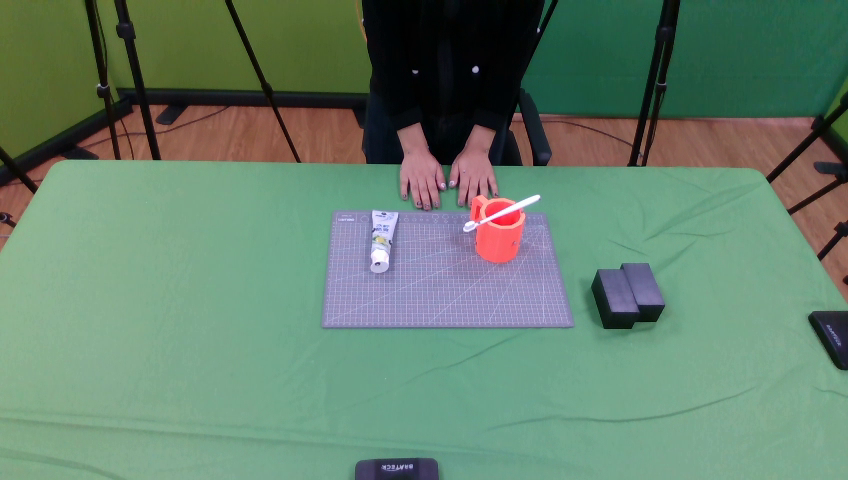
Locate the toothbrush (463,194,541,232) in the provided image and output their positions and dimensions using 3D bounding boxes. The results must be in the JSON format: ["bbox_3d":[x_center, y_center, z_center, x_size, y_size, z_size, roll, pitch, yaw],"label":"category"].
[{"bbox_3d":[0.149,-0.054,1.131,0.182,0.017,0.014,-23,46,-24],"label":"toothbrush"}]

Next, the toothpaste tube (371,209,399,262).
[{"bbox_3d":[-0.080,-0.008,1.193,0.055,0.034,0.164,8,42,-6],"label":"toothpaste tube"}]

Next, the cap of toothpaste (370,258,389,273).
[{"bbox_3d":[-0.083,0.047,1.132,0.037,0.037,0.011,-7,50,-9],"label":"cap of toothpaste"}]

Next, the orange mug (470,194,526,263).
[{"bbox_3d":[0.136,-0.030,1.180,0.083,0.101,0.125,-26,58,-26],"label":"orange mug"}]
